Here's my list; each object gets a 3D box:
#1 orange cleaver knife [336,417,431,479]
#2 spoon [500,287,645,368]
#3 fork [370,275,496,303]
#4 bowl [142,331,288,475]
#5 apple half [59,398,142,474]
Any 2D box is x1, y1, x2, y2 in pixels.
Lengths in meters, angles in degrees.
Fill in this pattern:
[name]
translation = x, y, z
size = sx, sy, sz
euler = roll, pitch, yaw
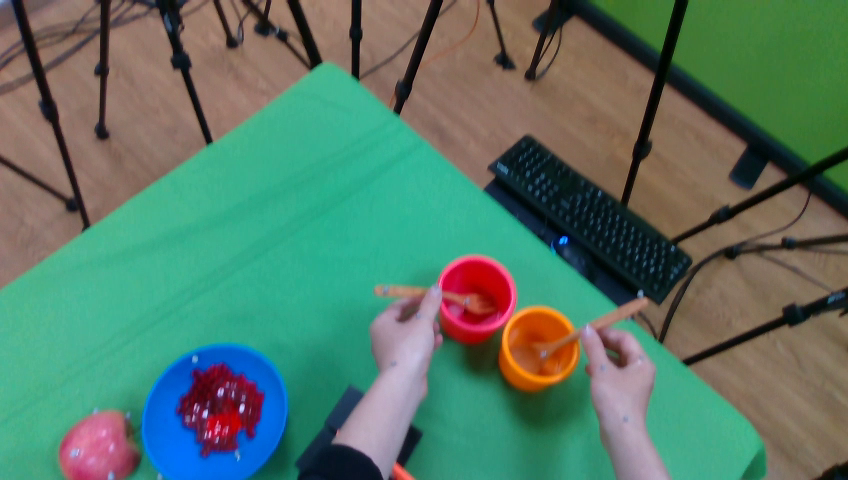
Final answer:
[orange cleaver knife]
translation = -0.009, 0.258, 0.659
size = 0.212, 0.077, 0.012
euler = 42, 59, -9
[spoon]
translation = 0.171, 0.103, 0.711
size = 0.022, 0.194, 0.041
euler = 10, 54, -50
[fork]
translation = 0.017, 0.057, 0.720
size = 0.209, 0.018, 0.028
euler = 13, 54, -47
[bowl]
translation = -0.223, 0.187, 0.677
size = 0.151, 0.077, 0.150
euler = 2, 65, -3
[apple half]
translation = -0.361, 0.214, 0.667
size = 0.075, 0.054, 0.080
euler = -20, 68, -11
